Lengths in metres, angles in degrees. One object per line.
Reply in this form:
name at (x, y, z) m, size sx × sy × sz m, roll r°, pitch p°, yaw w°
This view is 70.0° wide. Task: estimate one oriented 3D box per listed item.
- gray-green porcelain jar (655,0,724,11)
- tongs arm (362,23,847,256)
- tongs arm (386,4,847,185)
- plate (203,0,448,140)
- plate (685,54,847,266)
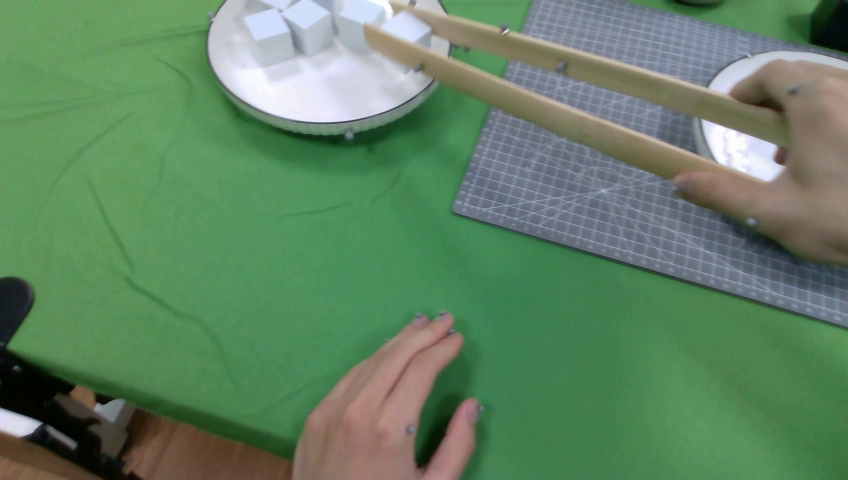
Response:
gray-green porcelain jar at (0.269, -0.298, 0.583) m, size 0.106 × 0.127 × 0.105 m, roll 1°, pitch 58°, yaw -1°
tongs arm at (0.091, -0.082, 0.399) m, size 0.384 × 0.028 × 0.028 m, roll 32°, pitch 62°, yaw 31°
tongs arm at (0.106, -0.097, 0.407) m, size 0.381 × 0.027 × 0.050 m, roll 27°, pitch 63°, yaw 29°
plate at (-0.084, -0.164, 0.535) m, size 0.208 × 0.039 × 0.205 m, roll 1°, pitch 58°, yaw -2°
plate at (0.313, -0.066, 0.491) m, size 0.209 × 0.038 × 0.207 m, roll 1°, pitch 58°, yaw -2°
